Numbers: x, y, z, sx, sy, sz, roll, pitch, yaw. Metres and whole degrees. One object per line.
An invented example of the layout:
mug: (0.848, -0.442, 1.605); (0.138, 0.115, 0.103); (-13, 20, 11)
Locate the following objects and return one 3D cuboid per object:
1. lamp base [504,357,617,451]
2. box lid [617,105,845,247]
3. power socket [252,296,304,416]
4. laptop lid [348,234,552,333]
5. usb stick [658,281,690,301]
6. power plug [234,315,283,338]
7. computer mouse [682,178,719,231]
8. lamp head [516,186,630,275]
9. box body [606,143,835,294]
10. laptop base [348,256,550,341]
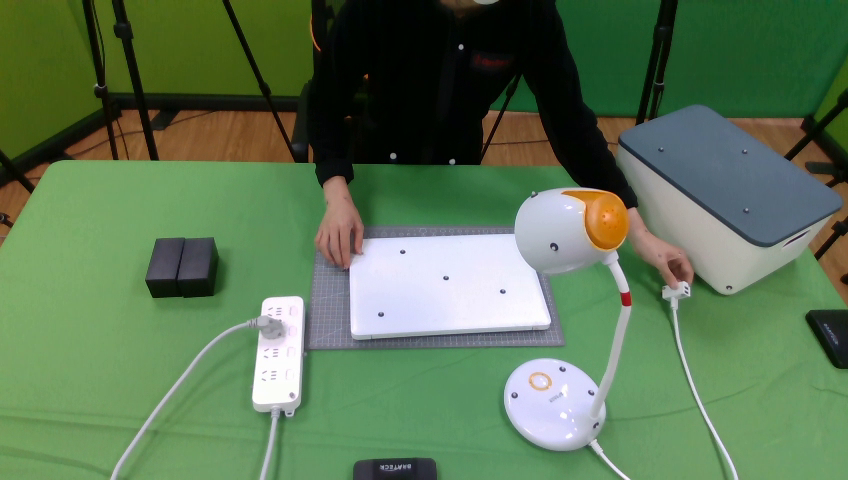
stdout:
lamp base: (0.220, 0.211, 0.903); (0.160, 0.181, 0.178); (-33, 59, -30)
box lid: (0.586, -0.138, 1.176); (0.263, 0.015, 0.369); (-22, 51, -23)
power socket: (-0.238, 0.181, 0.997); (0.072, 0.033, 0.225); (-3, 47, -5)
laptop lid: (0.039, 0.072, 1.117); (0.357, 0.013, 0.240); (-1, 44, -5)
usb stick: (0.461, 0.096, 1.124); (0.021, 0.059, 0.027); (26, 62, -25)
power plug: (-0.269, 0.143, 1.000); (0.072, 0.053, 0.035); (4, 47, 3)
computer mouse: (0.596, -0.078, 1.290); (0.117, 0.041, 0.062); (56, 45, -7)
lamp head: (0.188, -0.013, 0.728); (0.112, 0.112, 0.122); (-25, 9, -25)
box body: (0.582, -0.088, 1.230); (0.254, 0.161, 0.361); (-22, 52, -23)
laptop base: (0.038, 0.082, 1.124); (0.355, 0.023, 0.234); (-2, 43, -6)
